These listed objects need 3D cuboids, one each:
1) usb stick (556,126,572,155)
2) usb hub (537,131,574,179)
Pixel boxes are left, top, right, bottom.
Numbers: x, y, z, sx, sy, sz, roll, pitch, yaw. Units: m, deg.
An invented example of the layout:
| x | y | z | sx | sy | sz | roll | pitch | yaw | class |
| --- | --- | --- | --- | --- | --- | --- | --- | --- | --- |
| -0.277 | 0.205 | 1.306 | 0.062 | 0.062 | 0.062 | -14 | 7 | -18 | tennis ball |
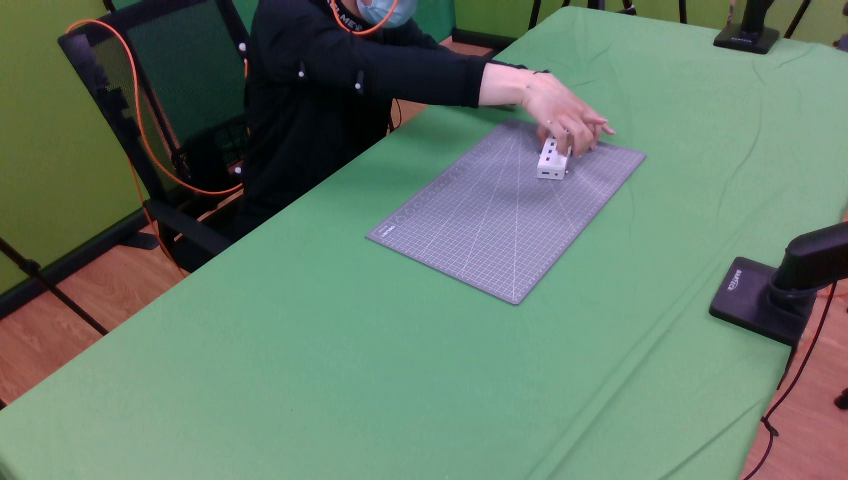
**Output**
| x | y | z | sx | sy | sz | roll | pitch | yaw | class |
| --- | --- | --- | --- | --- | --- | --- | --- | --- | --- |
| 0.250 | -0.172 | 1.080 | 0.027 | 0.059 | 0.021 | 8 | 36 | 10 | usb stick |
| 0.243 | -0.158 | 1.111 | 0.049 | 0.025 | 0.125 | 8 | 44 | 18 | usb hub |
